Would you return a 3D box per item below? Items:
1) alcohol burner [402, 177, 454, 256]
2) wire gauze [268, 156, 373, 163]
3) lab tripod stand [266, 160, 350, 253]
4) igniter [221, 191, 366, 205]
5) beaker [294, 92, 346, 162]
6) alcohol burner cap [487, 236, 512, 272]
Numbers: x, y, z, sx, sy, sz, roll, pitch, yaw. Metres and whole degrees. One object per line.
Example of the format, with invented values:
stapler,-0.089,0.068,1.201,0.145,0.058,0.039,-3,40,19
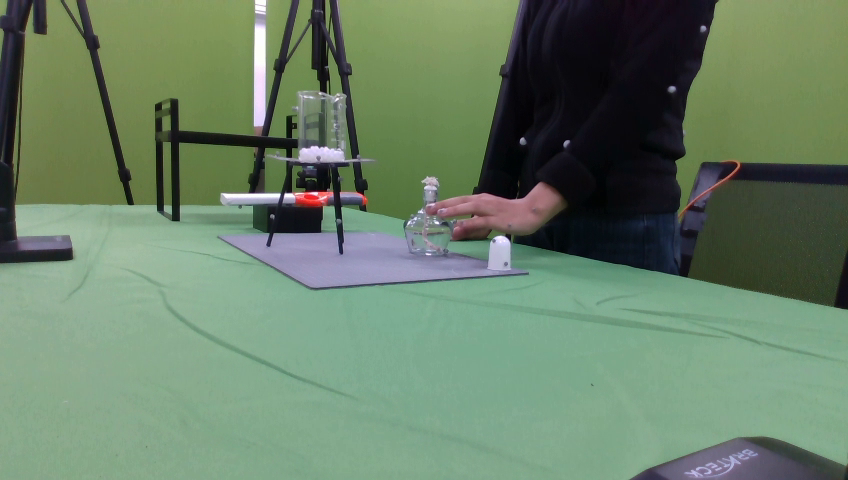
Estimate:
alcohol burner,0.007,-0.036,0.915,0.078,0.119,0.078,4,6,0
wire gauze,-0.154,-0.119,0.910,0.122,0.011,0.124,-4,8,-45
lab tripod stand,-0.163,-0.054,0.914,0.148,0.131,0.148,2,9,0
igniter,-0.240,-0.078,1.150,0.278,0.025,0.057,-3,20,-32
beaker,-0.152,-0.165,0.896,0.074,0.100,0.083,-4,10,-33
alcohol burner cap,0.102,0.019,0.802,0.034,0.048,0.034,2,8,0
